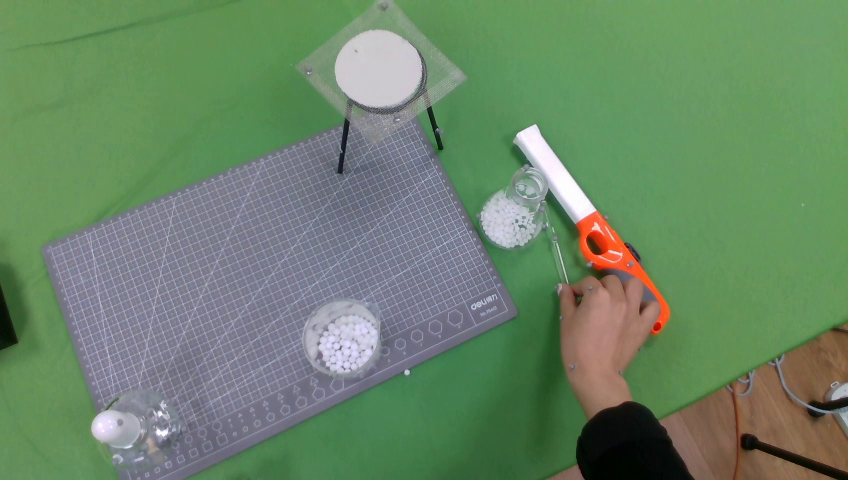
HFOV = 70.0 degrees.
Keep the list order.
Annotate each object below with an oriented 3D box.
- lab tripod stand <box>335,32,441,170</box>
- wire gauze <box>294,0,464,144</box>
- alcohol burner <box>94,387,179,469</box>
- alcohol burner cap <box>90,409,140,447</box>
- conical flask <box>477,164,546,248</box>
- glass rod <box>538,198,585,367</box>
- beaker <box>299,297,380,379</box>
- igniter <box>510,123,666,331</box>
[{"bbox_3d":[-0.048,-0.148,0.668,0.148,0.132,0.147,1,75,-4],"label":"lab tripod stand"},{"bbox_3d":[-0.045,-0.171,0.604,0.125,0.011,0.121,-41,82,-12],"label":"wire gauze"},{"bbox_3d":[-0.281,0.179,0.578,0.078,0.119,0.077,1,72,-3],"label":"alcohol burner"},{"bbox_3d":[-0.280,0.167,0.544,0.034,0.048,0.033,2,65,-4],"label":"alcohol burner cap"},{"bbox_3d":[0.100,-0.041,0.652,0.075,0.122,0.075,1,75,-2],"label":"conical flask"},{"bbox_3d":[0.155,0.045,0.690,0.008,0.008,0.198,-10,77,-5],"label":"glass rod"},{"bbox_3d":[-0.079,0.101,0.616,0.084,0.100,0.073,-43,80,-12],"label":"beaker"},{"bbox_3d":[0.189,-0.019,0.699,0.057,0.025,0.275,-29,78,-21],"label":"igniter"}]
